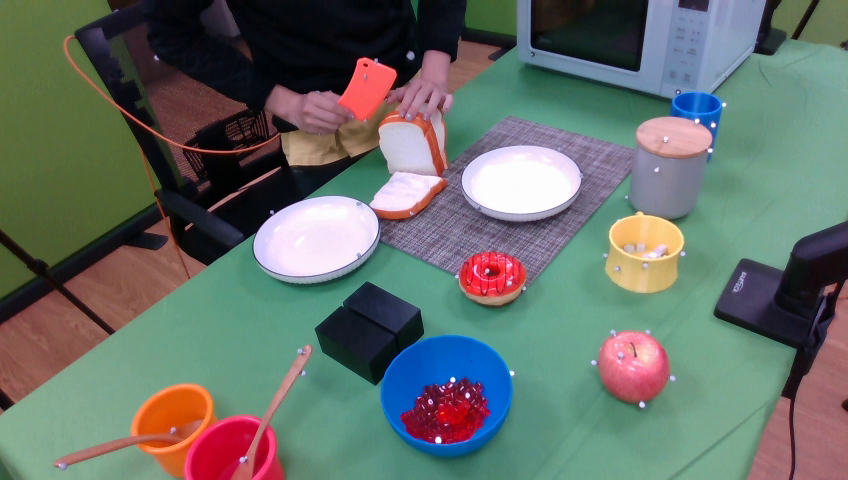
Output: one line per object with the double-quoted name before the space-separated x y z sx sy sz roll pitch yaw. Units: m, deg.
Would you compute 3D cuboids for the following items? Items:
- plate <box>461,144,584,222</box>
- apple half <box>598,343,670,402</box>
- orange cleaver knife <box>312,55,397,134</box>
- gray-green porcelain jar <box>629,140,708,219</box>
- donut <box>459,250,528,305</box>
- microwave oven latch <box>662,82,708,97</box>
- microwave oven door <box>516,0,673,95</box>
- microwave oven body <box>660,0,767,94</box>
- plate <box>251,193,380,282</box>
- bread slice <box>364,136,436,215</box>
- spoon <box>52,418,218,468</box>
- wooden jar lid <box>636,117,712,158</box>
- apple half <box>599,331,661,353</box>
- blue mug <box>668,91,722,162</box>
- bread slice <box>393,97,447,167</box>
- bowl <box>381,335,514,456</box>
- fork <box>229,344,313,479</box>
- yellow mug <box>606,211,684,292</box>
"plate" 0.168 -0.095 1.040 0.207 0.039 0.206 -4 40 4
"apple half" 0.247 0.161 0.710 0.081 0.075 0.053 2 46 5
"orange cleaver knife" -0.127 -0.247 1.076 0.078 0.210 0.012 28 45 -24
"gray-green porcelain jar" 0.383 -0.105 0.958 0.106 0.127 0.105 -4 41 4
"donut" 0.100 0.053 0.872 0.099 0.048 0.098 -4 40 4
"microwave oven latch" 0.518 -0.298 1.203 0.078 0.029 0.030 28 53 35
"microwave oven door" 0.344 -0.458 1.256 0.353 0.245 0.039 26 51 33
"microwave oven body" 0.473 -0.516 1.313 0.438 0.261 0.327 26 51 34
"plate" -0.173 -0.001 0.984 0.209 0.038 0.208 -4 40 4
"bread slice" -0.051 -0.109 1.028 0.106 0.018 0.134 17 86 21
"spoon" -0.308 0.220 0.663 0.041 0.195 0.021 21 93 29
"wooden jar lid" 0.377 -0.151 0.917 0.108 0.021 0.108 -2 42 3
"apple half" 0.249 0.134 0.738 0.081 0.081 0.032 -1 46 7
"blue mug" 0.474 -0.207 1.078 0.082 0.106 0.116 4 42 13
"bread slice" -0.007 -0.201 1.124 0.104 0.132 0.019 7 30 16
"bowl" 0.029 0.192 0.701 0.151 0.077 0.150 -4 40 4
"fork" -0.173 0.205 0.662 0.028 0.019 0.207 29 94 36
"yellow mug" 0.318 0.008 0.883 0.100 0.064 0.130 0 40 9
